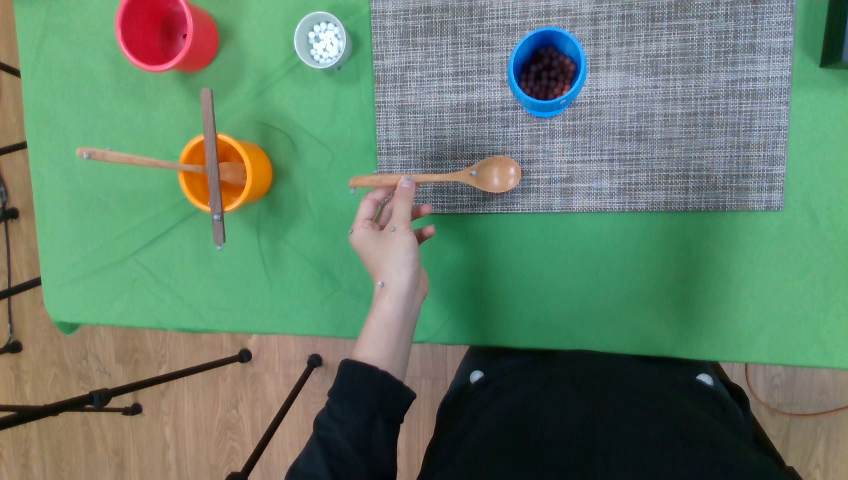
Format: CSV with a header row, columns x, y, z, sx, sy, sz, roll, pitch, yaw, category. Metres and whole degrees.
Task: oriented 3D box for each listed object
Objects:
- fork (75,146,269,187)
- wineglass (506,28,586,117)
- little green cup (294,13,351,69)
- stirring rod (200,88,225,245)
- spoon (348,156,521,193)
x,y,z,sx,sy,sz,roll,pitch,yaw,category
-0.281,-0.085,0.697,0.209,0.018,0.028,5,110,-34,fork
0.119,-0.159,0.595,0.073,0.172,0.074,2,98,11,wineglass
-0.115,-0.227,0.700,0.061,0.038,0.061,2,100,11,little green cup
-0.240,-0.081,0.686,0.014,0.006,0.176,0,99,12,stirring rod
0.014,-0.068,0.651,0.194,0.021,0.042,-4,107,-21,spoon
